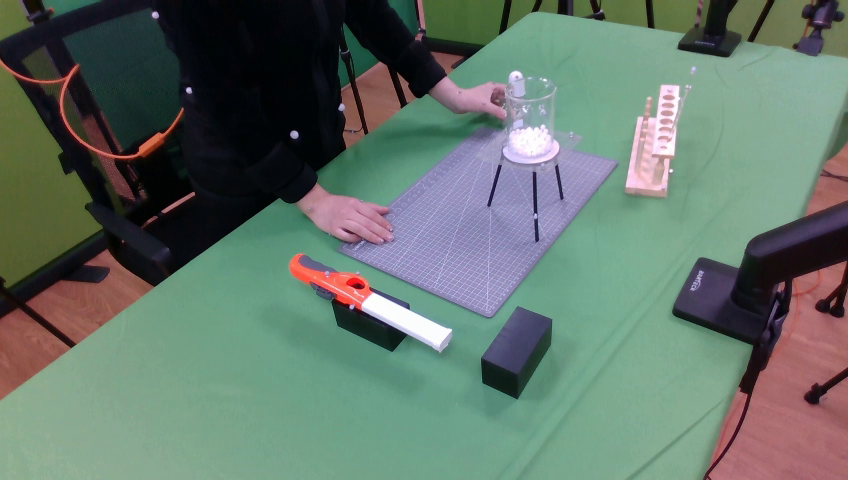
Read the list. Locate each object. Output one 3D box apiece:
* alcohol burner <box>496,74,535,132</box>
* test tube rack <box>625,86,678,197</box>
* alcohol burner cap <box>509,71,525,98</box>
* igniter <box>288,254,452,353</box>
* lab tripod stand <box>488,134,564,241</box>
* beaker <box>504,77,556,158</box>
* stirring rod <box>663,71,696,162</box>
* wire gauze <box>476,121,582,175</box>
[{"bbox_3d":[0.184,-0.279,1.210,0.078,0.119,0.077,-3,42,3],"label":"alcohol burner"},{"bbox_3d":[0.412,-0.184,1.088,0.066,0.085,0.242,9,43,18],"label":"test tube rack"},{"bbox_3d":[0.181,-0.307,1.187,0.034,0.048,0.033,-6,37,5],"label":"alcohol burner cap"},{"bbox_3d":[-0.083,0.079,0.818,0.274,0.025,0.057,23,46,27],"label":"igniter"},{"bbox_3d":[0.168,-0.092,0.972,0.148,0.132,0.147,-5,41,5],"label":"lab tripod stand"},{"bbox_3d":[0.160,-0.181,0.900,0.084,0.101,0.073,-32,46,-27],"label":"beaker"},{"bbox_3d":[0.410,-0.195,0.981,0.014,0.177,0.006,11,50,13],"label":"stirring rod"},{"bbox_3d":[0.162,-0.142,0.929,0.120,0.011,0.125,19,49,32],"label":"wire gauze"}]
